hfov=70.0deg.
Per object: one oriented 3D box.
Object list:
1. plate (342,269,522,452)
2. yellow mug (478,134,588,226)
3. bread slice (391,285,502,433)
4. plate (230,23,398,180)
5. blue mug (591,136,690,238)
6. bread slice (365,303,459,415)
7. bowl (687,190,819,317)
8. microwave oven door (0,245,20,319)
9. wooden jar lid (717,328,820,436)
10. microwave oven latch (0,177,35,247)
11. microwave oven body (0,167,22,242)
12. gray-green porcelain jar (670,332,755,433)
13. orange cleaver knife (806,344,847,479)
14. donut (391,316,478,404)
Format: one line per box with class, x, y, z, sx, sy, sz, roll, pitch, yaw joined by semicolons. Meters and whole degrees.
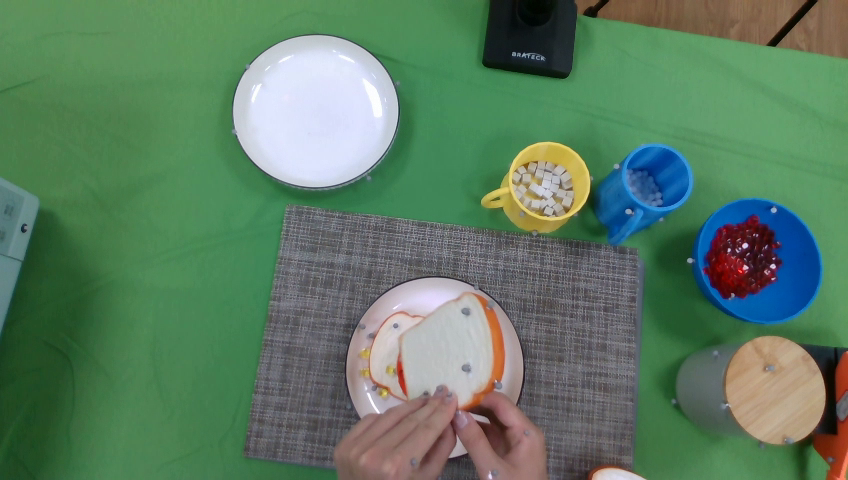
plate;0.010;0.138;0.709;0.209;0.038;0.208;1;78;-3
yellow mug;0.131;-0.069;0.749;0.131;0.064;0.099;-13;78;-5
bread slice;0.019;0.103;0.563;0.018;0.134;0.106;12;49;-37
plate;-0.136;-0.172;0.769;0.208;0.039;0.206;1;78;-3
blue mug;0.251;-0.054;0.733;0.082;0.106;0.116;28;78;3
bread slice;-0.003;0.135;0.712;0.131;0.019;0.104;21;77;-2
bowl;0.384;0.022;0.739;0.151;0.077;0.150;1;78;-3
microwave oven door;-0.508;0.156;0.555;0.039;0.244;0.354;9;78;-1
wooden jar lid;0.351;0.145;0.623;0.108;0.021;0.108;1;81;-5
microwave oven latch;-0.477;-0.034;0.699;0.030;0.029;0.079;12;78;-1
microwave oven body;-0.645;0.093;0.565;0.326;0.261;0.440;9;78;-2
gray-green porcelain jar;0.349;0.160;0.684;0.106;0.127;0.105;1;78;-3
orange cleaver knife;0.469;0.226;0.699;0.012;0.077;0.212;6;104;-1
donut;0.011;0.135;0.681;0.099;0.048;0.098;1;80;-6
